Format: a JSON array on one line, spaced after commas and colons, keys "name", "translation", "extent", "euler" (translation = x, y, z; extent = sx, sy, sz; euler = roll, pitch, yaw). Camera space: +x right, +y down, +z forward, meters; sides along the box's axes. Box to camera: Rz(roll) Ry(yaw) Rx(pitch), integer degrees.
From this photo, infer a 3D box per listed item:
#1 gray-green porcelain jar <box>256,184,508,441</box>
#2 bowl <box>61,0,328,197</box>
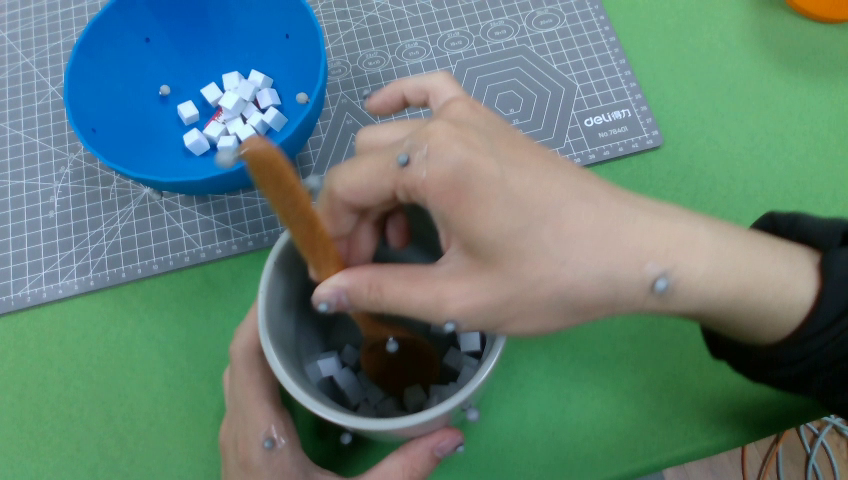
[{"name": "gray-green porcelain jar", "translation": [-0.014, 0.046, 0.306], "extent": [0.106, 0.127, 0.105], "euler": [-1, 70, 3]}, {"name": "bowl", "translation": [-0.129, -0.085, 0.379], "extent": [0.151, 0.077, 0.150], "euler": [0, 69, 1]}]
